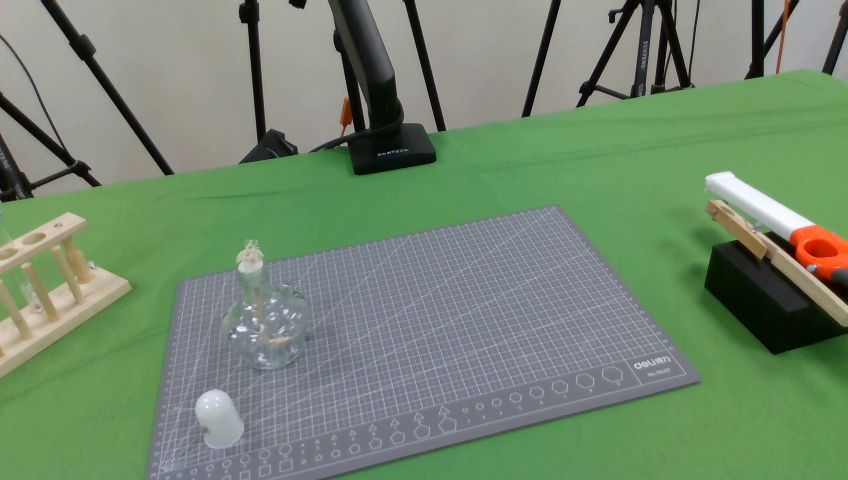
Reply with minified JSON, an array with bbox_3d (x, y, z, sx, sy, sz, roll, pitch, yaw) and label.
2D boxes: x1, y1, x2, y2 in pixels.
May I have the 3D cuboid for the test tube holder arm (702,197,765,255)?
[{"bbox_3d":[0.295,-0.014,0.575,0.010,0.015,0.087,-7,35,-12],"label":"test tube holder arm"}]

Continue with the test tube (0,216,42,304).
[{"bbox_3d":[-0.410,0.002,0.593,0.017,0.151,0.017,-5,33,3],"label":"test tube"}]

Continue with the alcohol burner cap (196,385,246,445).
[{"bbox_3d":[-0.166,0.138,0.487,0.034,0.048,0.033,-3,35,3],"label":"alcohol burner cap"}]

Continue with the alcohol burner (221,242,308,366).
[{"bbox_3d":[-0.145,0.053,0.540,0.078,0.120,0.077,-4,34,3],"label":"alcohol burner"}]

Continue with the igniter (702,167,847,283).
[{"bbox_3d":[0.349,-0.004,0.548,0.057,0.025,0.273,-13,32,-8],"label":"igniter"}]

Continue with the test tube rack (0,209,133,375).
[{"bbox_3d":[-0.418,0.072,0.582,0.066,0.086,0.242,17,41,29],"label":"test tube rack"}]

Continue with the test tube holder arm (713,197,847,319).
[{"bbox_3d":[0.312,0.009,0.540,0.013,0.015,0.176,-8,35,-13],"label":"test tube holder arm"}]
